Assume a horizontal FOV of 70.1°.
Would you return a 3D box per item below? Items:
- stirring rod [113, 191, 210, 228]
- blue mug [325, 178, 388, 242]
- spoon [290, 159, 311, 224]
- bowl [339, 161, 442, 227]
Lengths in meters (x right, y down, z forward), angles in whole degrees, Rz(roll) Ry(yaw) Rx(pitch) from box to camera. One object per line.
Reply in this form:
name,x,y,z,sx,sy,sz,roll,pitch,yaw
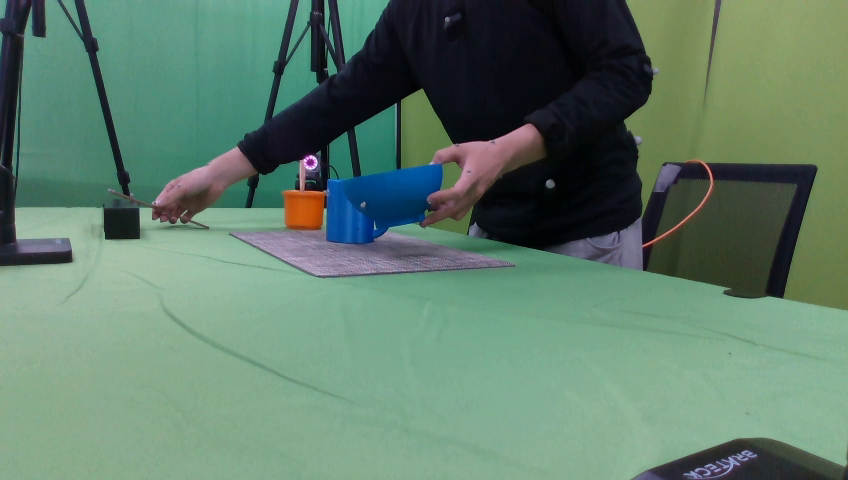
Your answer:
stirring rod,-0.484,-0.056,1.121,0.177,0.006,0.014,22,-5,-22
blue mug,-0.111,-0.052,1.034,0.116,0.106,0.082,3,7,7
spoon,-0.257,-0.104,1.266,0.042,0.193,0.021,0,-37,-9
bowl,-0.042,-0.063,0.877,0.151,0.077,0.151,-10,5,1
